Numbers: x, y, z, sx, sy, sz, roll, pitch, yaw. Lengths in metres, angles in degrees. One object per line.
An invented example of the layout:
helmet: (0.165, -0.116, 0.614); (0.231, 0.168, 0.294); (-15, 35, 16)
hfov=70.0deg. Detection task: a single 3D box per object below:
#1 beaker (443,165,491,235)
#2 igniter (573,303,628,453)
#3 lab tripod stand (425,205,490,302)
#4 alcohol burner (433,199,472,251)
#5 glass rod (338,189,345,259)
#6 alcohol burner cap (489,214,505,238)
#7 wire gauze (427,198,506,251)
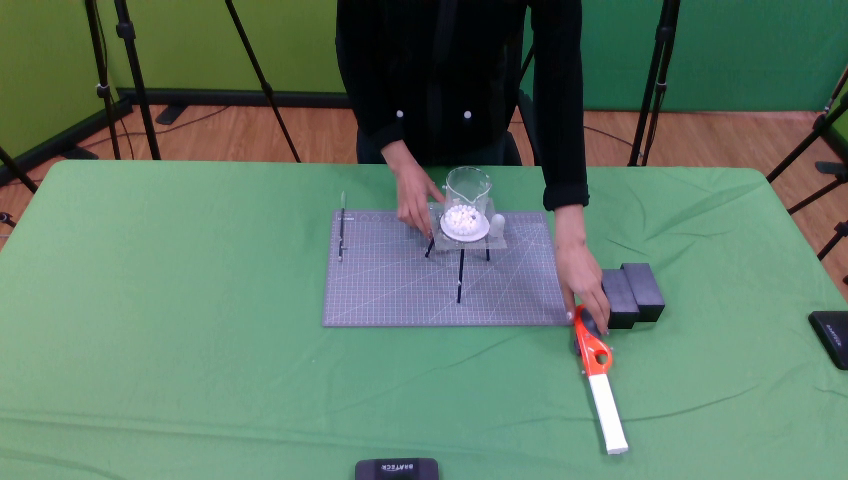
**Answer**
beaker: (0.070, -0.062, 1.023); (0.074, 0.101, 0.083); (-2, 48, -6)
igniter: (0.288, 0.216, 1.006); (0.057, 0.025, 0.274); (-9, 46, 8)
lab tripod stand: (0.069, 0.017, 1.105); (0.148, 0.132, 0.147); (3, 47, -3)
alcohol burner: (0.056, -0.036, 1.169); (0.078, 0.119, 0.077); (3, 48, -3)
glass rod: (-0.166, -0.036, 1.227); (0.008, 0.008, 0.198); (-1, 46, -4)
alcohol burner cap: (0.148, -0.031, 1.222); (0.034, 0.048, 0.033); (1, 46, -1)
wire gauze: (0.072, -0.028, 1.056); (0.125, 0.011, 0.120); (-1, 49, -8)
